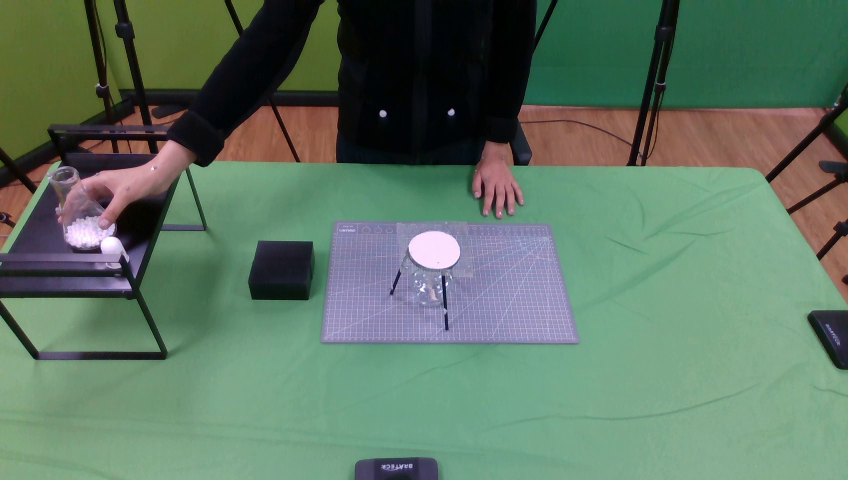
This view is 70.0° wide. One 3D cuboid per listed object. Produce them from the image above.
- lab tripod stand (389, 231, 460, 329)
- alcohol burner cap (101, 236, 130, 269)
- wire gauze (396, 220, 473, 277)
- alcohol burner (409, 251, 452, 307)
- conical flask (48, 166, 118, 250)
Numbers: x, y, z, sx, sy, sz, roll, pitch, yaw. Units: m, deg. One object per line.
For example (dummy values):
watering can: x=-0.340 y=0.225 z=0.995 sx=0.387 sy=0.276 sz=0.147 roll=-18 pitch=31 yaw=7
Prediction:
lab tripod stand: x=0.015 y=0.063 z=1.058 sx=0.148 sy=0.132 sz=0.147 roll=4 pitch=46 yaw=-4
alcohol burner cap: x=-0.452 y=0.016 z=0.883 sx=0.034 sy=0.048 sz=0.033 roll=2 pitch=45 yaw=-2
wire gauze: x=0.016 y=0.012 z=1.013 sx=0.125 sy=0.011 sz=0.120 roll=1 pitch=47 yaw=-5
alcohol burner: x=0.013 y=0.063 z=1.072 sx=0.078 sy=0.119 sz=0.077 roll=4 pitch=45 yaw=-3
conical flask: x=-0.506 y=-0.050 z=0.888 sx=0.075 sy=0.122 sz=0.075 roll=2 pitch=46 yaw=-2
